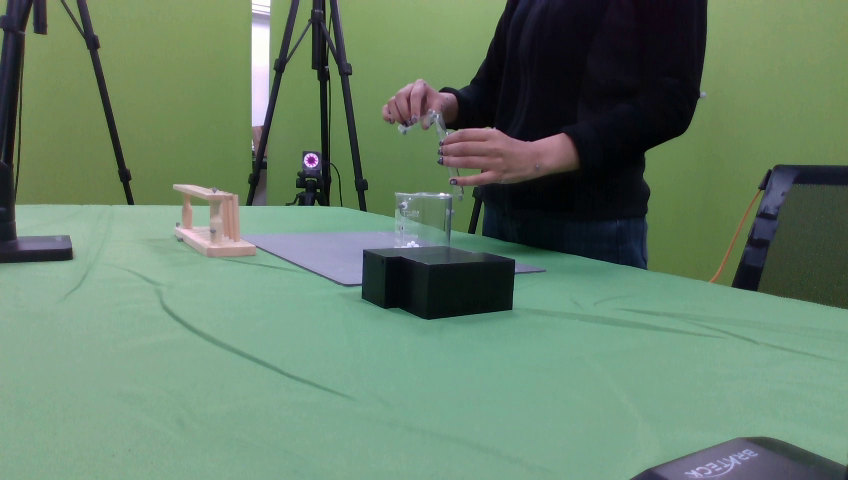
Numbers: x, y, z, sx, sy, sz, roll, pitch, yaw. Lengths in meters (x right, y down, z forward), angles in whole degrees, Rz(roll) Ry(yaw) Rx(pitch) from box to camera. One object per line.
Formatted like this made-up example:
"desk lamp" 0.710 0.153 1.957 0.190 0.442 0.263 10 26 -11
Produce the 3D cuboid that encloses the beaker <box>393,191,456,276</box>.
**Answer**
"beaker" -0.003 -0.010 0.749 0.074 0.100 0.083 -3 8 -40

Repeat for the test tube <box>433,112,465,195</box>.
"test tube" 0.037 -0.130 0.901 0.017 0.149 0.017 -11 -28 -6

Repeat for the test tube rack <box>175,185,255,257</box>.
"test tube rack" -0.324 -0.035 0.922 0.067 0.085 0.241 -2 9 -31

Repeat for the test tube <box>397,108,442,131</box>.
"test tube" -0.010 -0.198 0.999 0.017 0.017 0.150 -1 2 -25
